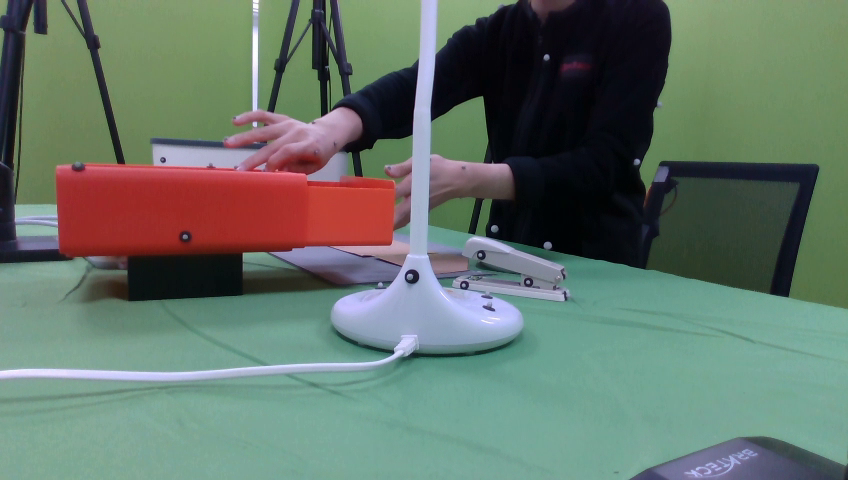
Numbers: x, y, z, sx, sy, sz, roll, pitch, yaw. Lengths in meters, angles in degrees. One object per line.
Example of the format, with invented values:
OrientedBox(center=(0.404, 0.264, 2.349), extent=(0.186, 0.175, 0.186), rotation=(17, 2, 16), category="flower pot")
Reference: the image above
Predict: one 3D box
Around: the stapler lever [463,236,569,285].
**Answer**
OrientedBox(center=(0.100, 0.022, 0.665), extent=(0.117, 0.040, 0.027), rotation=(8, 12, 22), category="stapler lever")

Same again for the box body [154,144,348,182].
OrientedBox(center=(-0.357, -0.119, 1.264), extent=(0.365, 0.160, 0.253), rotation=(0, 7, -18), category="box body")

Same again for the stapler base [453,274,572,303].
OrientedBox(center=(0.097, 0.047, 0.670), extent=(0.130, 0.024, 0.041), rotation=(7, 12, 23), category="stapler base")

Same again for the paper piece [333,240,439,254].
OrientedBox(center=(-0.068, 0.010, 0.935), extent=(0.136, 0.004, 0.134), rotation=(-2, 8, -32), category="paper piece")

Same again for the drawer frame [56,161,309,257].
OrientedBox(center=(-0.246, -0.038, 0.629), extent=(0.214, 0.082, 0.200), rotation=(-2, 9, -26), category="drawer frame")

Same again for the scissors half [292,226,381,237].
OrientedBox(center=(-0.152, -0.015, 1.079), extent=(0.176, 0.013, 0.040), rotation=(-7, 2, -33), category="scissors half")

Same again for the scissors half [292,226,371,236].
OrientedBox(center=(-0.166, -0.015, 1.094), extent=(0.040, 0.013, 0.176), rotation=(3, 7, 39), category="scissors half")

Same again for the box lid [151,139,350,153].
OrientedBox(center=(-0.352, -0.191, 1.255), extent=(0.373, 0.015, 0.262), rotation=(0, 8, -18), category="box lid")

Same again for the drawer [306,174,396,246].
OrientedBox(center=(-0.162, -0.038, 0.672), extent=(0.213, 0.073, 0.193), rotation=(-1, 9, -25), category="drawer")

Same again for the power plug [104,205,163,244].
OrientedBox(center=(-0.390, -0.021, 0.815), extent=(0.073, 0.052, 0.035), rotation=(-1, 7, -27), category="power plug")

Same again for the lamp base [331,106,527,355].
OrientedBox(center=(0.006, -0.012, 0.478), extent=(0.161, 0.180, 0.179), rotation=(2, 10, 2), category="lamp base")

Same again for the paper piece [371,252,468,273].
OrientedBox(center=(0.021, 0.029, 0.829), extent=(0.139, 0.008, 0.135), rotation=(-1, 11, -37), category="paper piece")

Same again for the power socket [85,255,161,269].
OrientedBox(center=(-0.409, 0.004, 0.793), extent=(0.072, 0.032, 0.225), rotation=(-2, 8, -38), category="power socket")
